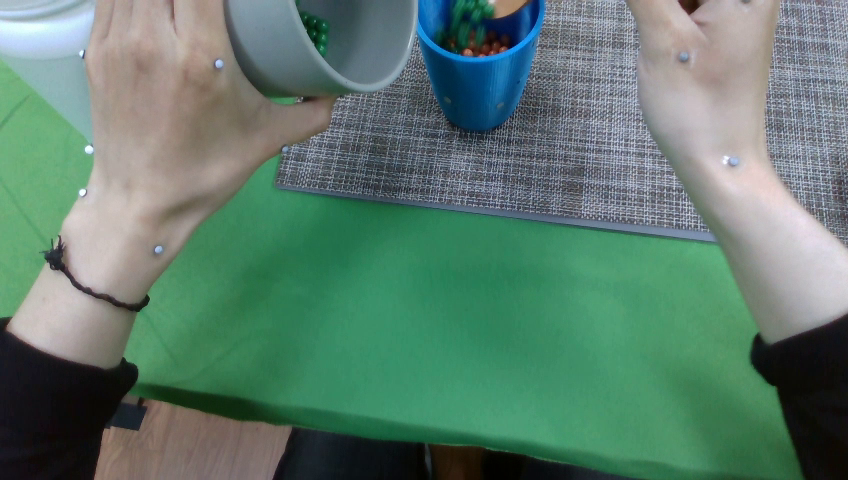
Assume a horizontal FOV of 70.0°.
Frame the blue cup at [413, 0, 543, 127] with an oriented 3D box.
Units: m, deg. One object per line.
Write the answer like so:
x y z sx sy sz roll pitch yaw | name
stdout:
0.037 -0.132 0.429 0.092 0.101 0.092 -2 69 4 | blue cup

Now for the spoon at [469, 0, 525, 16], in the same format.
0.087 -0.155 0.320 0.022 0.192 0.041 8 92 -33 | spoon

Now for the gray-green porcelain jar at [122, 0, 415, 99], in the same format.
-0.085 -0.131 0.323 0.126 0.107 0.105 5 67 31 | gray-green porcelain jar

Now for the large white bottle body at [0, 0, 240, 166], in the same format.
-0.214 -0.146 0.405 0.130 0.186 0.129 -1 69 2 | large white bottle body

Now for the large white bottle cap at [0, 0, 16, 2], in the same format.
-0.219 -0.178 0.327 0.115 0.018 0.114 -1 69 2 | large white bottle cap
